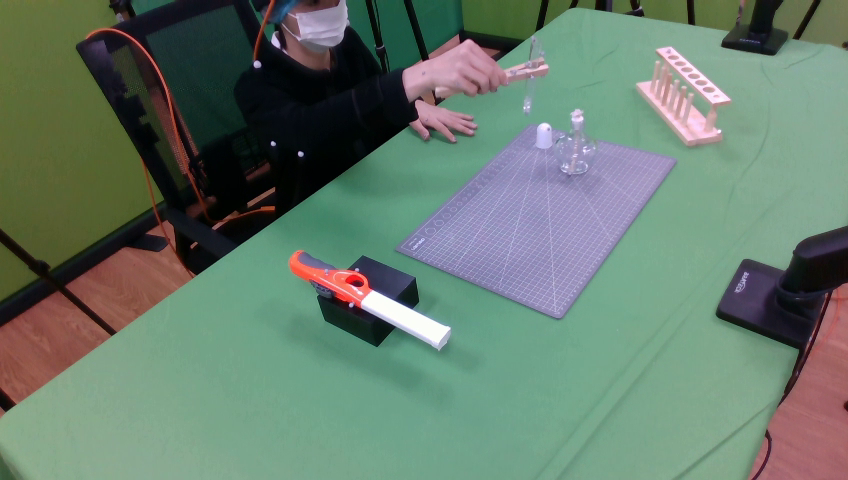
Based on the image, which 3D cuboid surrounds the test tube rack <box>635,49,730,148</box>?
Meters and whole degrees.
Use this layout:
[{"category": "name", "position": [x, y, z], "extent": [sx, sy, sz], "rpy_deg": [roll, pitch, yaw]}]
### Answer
[{"category": "test tube rack", "position": [0.497, -0.283, 1.185], "extent": [0.067, 0.085, 0.240], "rpy_deg": [-10, 40, -2]}]

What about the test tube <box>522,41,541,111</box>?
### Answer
[{"category": "test tube", "position": [0.167, -0.252, 0.947], "extent": [0.017, 0.151, 0.017], "rpy_deg": [-1, 64, 3]}]

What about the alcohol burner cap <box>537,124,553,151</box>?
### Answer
[{"category": "alcohol burner cap", "position": [0.232, -0.199, 1.158], "extent": [0.034, 0.048, 0.033], "rpy_deg": [-5, 40, 5]}]

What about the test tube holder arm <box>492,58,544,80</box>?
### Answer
[{"category": "test tube holder arm", "position": [0.143, -0.257, 0.926], "extent": [0.088, 0.015, 0.010], "rpy_deg": [-24, 63, -12]}]

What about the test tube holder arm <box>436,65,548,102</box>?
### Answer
[{"category": "test tube holder arm", "position": [0.103, -0.238, 0.916], "extent": [0.179, 0.015, 0.013], "rpy_deg": [-17, 61, -9]}]

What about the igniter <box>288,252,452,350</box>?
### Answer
[{"category": "igniter", "position": [-0.084, 0.077, 0.821], "extent": [0.274, 0.025, 0.057], "rpy_deg": [23, 48, 27]}]

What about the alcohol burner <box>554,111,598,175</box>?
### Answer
[{"category": "alcohol burner", "position": [0.270, -0.175, 1.066], "extent": [0.078, 0.119, 0.077], "rpy_deg": [-4, 42, 4]}]
